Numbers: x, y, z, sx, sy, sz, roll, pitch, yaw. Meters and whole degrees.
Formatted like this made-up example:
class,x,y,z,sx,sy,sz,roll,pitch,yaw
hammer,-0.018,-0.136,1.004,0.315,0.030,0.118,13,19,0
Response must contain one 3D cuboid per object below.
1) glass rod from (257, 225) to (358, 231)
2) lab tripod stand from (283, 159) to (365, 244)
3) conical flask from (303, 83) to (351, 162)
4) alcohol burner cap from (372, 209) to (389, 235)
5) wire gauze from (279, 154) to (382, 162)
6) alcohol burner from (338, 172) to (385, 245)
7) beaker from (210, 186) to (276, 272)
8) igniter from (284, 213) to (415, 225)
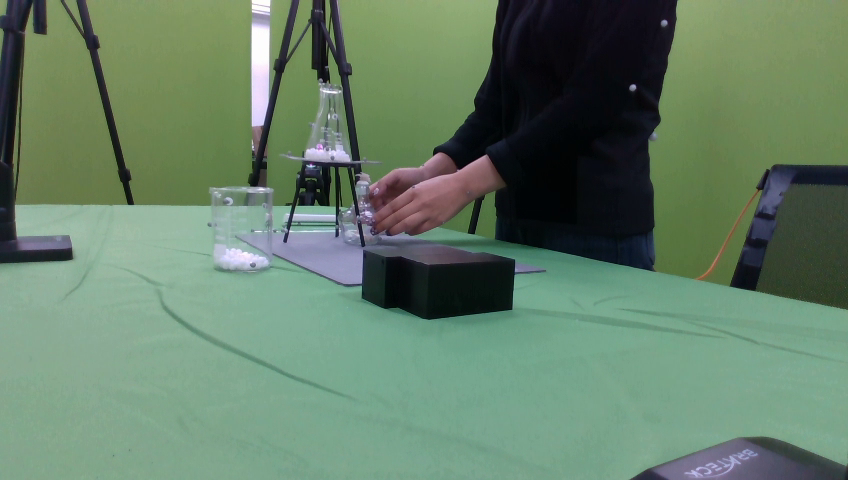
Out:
class,x,y,z,sx,sy,sz,roll,pitch,yaw
glass rod,-0.216,-0.022,1.151,0.201,0.008,0.008,-2,8,-28
lab tripod stand,-0.151,-0.063,0.983,0.148,0.131,0.148,4,7,0
conical flask,-0.151,-0.186,0.963,0.075,0.122,0.075,4,6,0
alcohol burner cap,-0.082,-0.035,1.143,0.034,0.048,0.034,3,7,0
wire gauze,-0.149,-0.128,0.974,0.124,0.011,0.122,6,6,41
alcohol burner,-0.102,-0.052,0.993,0.078,0.119,0.078,2,6,0
beaker,-0.224,-0.014,0.738,0.084,0.100,0.074,4,7,16
igniter,-0.154,-0.045,1.282,0.278,0.025,0.057,0,-3,-20
